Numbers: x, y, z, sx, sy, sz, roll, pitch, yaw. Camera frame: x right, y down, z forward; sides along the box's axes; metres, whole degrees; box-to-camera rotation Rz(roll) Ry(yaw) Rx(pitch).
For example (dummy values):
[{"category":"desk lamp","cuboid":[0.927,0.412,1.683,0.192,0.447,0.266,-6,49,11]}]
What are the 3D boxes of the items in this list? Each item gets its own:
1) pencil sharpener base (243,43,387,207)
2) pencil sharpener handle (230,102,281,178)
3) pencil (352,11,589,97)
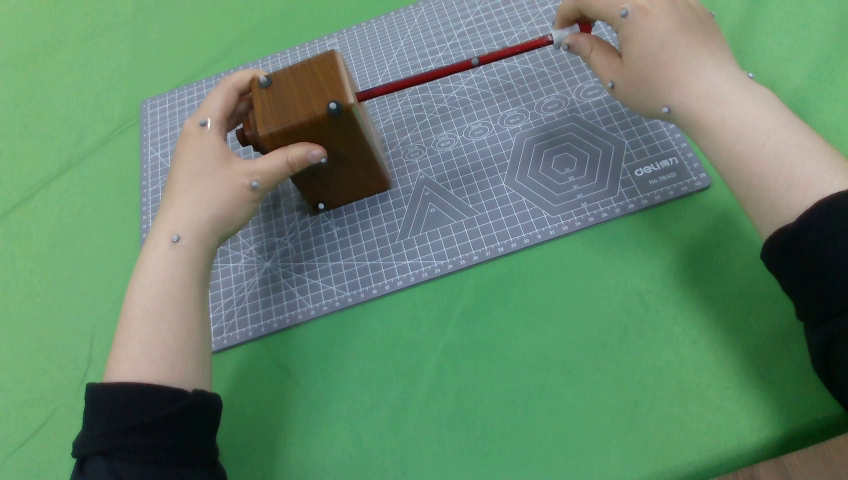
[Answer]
[{"category":"pencil sharpener base","cuboid":[-0.082,-0.083,0.467,0.076,0.108,0.061,-20,59,3]},{"category":"pencil sharpener handle","cuboid":[-0.133,-0.072,0.459,0.030,0.068,0.035,-20,59,4]},{"category":"pencil","cuboid":[0.023,-0.131,0.439,0.194,0.012,0.012,-15,60,9]}]
